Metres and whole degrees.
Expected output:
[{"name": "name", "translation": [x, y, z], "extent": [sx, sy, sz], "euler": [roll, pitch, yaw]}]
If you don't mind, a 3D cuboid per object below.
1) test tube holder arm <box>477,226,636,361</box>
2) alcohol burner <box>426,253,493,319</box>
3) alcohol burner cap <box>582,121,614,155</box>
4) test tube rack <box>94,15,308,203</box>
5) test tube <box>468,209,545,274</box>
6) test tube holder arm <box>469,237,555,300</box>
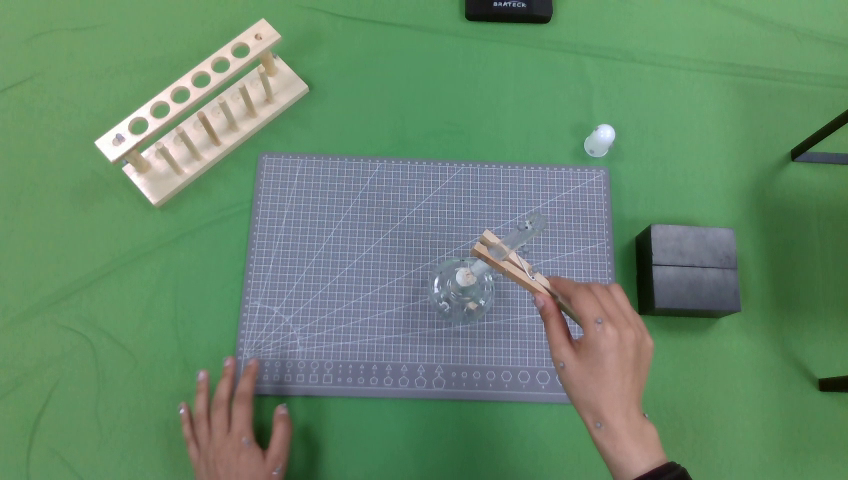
[{"name": "test tube holder arm", "translation": [0.119, 0.049, 0.546], "extent": [0.178, 0.015, 0.013], "euler": [39, 72, 0]}, {"name": "alcohol burner", "translation": [0.042, 0.048, 0.677], "extent": [0.078, 0.119, 0.077], "euler": [1, 72, -4]}, {"name": "alcohol burner cap", "translation": [0.225, -0.133, 0.776], "extent": [0.034, 0.048, 0.033], "euler": [1, 73, -3]}, {"name": "test tube rack", "translation": [-0.260, -0.158, 0.736], "extent": [0.242, 0.085, 0.066], "euler": [-42, 79, -13]}, {"name": "test tube", "translation": [0.068, 0.005, 0.529], "extent": [0.017, 0.150, 0.017], "euler": [4, 72, -14]}, {"name": "test tube holder arm", "translation": [0.080, 0.026, 0.543], "extent": [0.088, 0.015, 0.010], "euler": [32, 71, -2]}]
